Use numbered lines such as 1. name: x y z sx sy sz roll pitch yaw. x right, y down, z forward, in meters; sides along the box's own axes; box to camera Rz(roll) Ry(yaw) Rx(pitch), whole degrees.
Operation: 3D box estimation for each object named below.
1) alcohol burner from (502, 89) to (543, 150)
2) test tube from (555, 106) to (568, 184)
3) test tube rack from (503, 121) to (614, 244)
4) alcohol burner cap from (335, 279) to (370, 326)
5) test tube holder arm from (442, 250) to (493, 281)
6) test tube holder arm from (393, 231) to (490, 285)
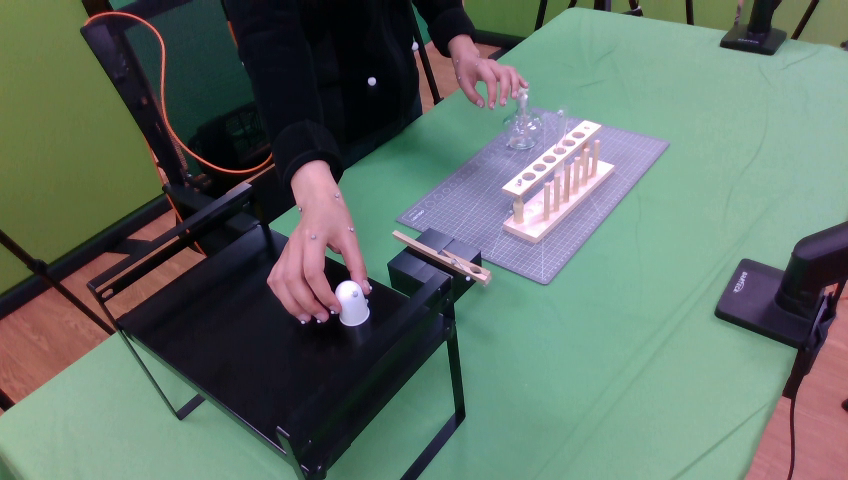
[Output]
1. alcohol burner: 0.186 -0.233 1.147 0.078 0.119 0.077 -5 42 5
2. test tube: 0.224 -0.151 0.987 0.017 0.151 0.017 -4 43 5
3. test tube rack: 0.230 -0.101 1.006 0.066 0.085 0.243 27 51 34
4. alcohol burner cap: -0.074 0.061 0.618 0.034 0.048 0.033 -2 42 2
5. test tube holder arm: 0.059 0.035 0.851 0.087 0.015 0.010 24 60 32
6. test tube holder arm: 0.021 0.023 0.873 0.177 0.015 0.013 24 60 32
